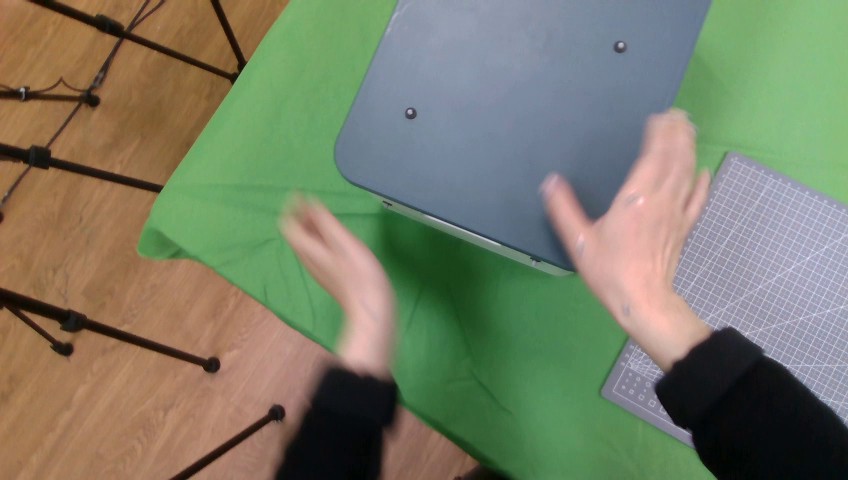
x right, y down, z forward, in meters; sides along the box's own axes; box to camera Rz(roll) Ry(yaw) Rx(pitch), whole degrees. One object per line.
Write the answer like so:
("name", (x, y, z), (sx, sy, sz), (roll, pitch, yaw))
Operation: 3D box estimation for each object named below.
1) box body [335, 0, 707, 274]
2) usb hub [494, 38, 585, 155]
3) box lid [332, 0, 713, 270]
("box body", (0.107, -0.170, 0.612), (0.253, 0.161, 0.363), (23, 85, 9))
("usb hub", (0.127, -0.159, 0.669), (0.049, 0.025, 0.125), (28, 84, 12))
("box lid", (0.098, -0.180, 0.539), (0.262, 0.015, 0.371), (23, 85, 9))
